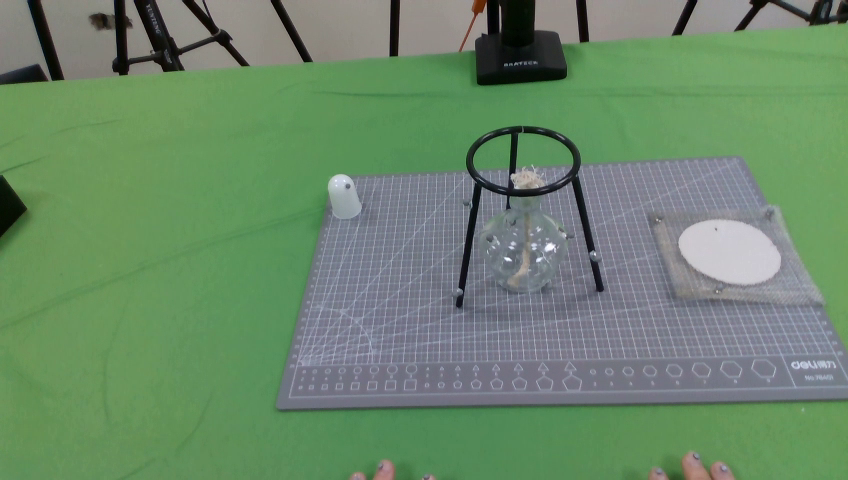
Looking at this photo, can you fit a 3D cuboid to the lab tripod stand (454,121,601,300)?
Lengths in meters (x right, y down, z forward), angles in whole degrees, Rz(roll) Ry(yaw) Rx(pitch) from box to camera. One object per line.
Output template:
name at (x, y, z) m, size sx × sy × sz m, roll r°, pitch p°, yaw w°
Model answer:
lab tripod stand at (0.085, -0.023, 0.519) m, size 0.148 × 0.133 × 0.147 m, roll -3°, pitch 44°, yaw 3°

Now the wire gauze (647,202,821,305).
wire gauze at (0.277, 0.008, 0.552) m, size 0.125 × 0.011 × 0.120 m, roll 1°, pitch 45°, yaw 6°

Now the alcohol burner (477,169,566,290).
alcohol burner at (0.084, -0.013, 0.523) m, size 0.078 × 0.120 × 0.077 m, roll -2°, pitch 44°, yaw 3°

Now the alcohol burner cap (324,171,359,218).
alcohol burner cap at (-0.088, -0.051, 0.636) m, size 0.034 × 0.048 × 0.033 m, roll -3°, pitch 46°, yaw 3°
